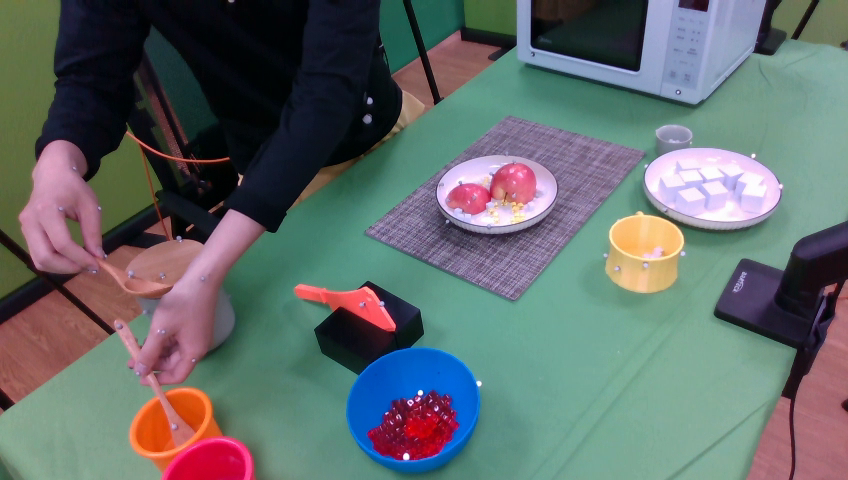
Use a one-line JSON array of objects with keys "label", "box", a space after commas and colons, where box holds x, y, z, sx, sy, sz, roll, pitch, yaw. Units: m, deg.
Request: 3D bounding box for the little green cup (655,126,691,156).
[{"label": "little green cup", "box": [0.450, -0.177, 1.100, 0.061, 0.039, 0.061, -6, 40, 5]}]

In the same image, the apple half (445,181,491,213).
[{"label": "apple half", "box": [0.077, -0.083, 1.029, 0.081, 0.033, 0.081, -2, 42, 2]}]

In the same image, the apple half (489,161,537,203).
[{"label": "apple half", "box": [0.154, -0.106, 1.030, 0.080, 0.053, 0.075, 22, 46, 31]}]

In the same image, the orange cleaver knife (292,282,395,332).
[{"label": "orange cleaver knife", "box": [-0.115, 0.091, 0.835, 0.209, 0.077, 0.012, 2, 32, 48]}]

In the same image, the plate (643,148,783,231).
[{"label": "plate", "box": [0.464, -0.079, 0.985, 0.207, 0.039, 0.206, -4, 41, 4]}]

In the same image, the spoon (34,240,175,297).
[{"label": "spoon", "box": [-0.355, 0.028, 0.663, 0.193, 0.021, 0.042, 20, 18, 18]}]

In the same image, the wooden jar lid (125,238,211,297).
[{"label": "wooden jar lid", "box": [-0.335, 0.038, 0.794, 0.108, 0.021, 0.108, -2, 40, 2]}]

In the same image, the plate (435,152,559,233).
[{"label": "plate", "box": [0.123, -0.078, 1.026, 0.209, 0.038, 0.208, -4, 40, 4]}]

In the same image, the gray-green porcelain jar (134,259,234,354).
[{"label": "gray-green porcelain jar", "box": [-0.328, 0.087, 0.836, 0.106, 0.127, 0.105, -4, 41, 4]}]

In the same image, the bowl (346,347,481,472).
[{"label": "bowl", "box": [-0.008, 0.205, 0.690, 0.151, 0.077, 0.150, -4, 40, 4]}]

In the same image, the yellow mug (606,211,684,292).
[{"label": "yellow mug", "box": [0.318, 0.008, 0.883, 0.100, 0.064, 0.130, 0, 40, 9]}]

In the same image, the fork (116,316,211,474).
[{"label": "fork", "box": [-0.308, 0.179, 0.708, 0.028, 0.018, 0.207, -30, 89, -15]}]

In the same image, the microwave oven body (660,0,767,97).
[{"label": "microwave oven body", "box": [0.474, -0.516, 1.313, 0.438, 0.261, 0.327, 26, 51, 34]}]

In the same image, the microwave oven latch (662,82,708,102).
[{"label": "microwave oven latch", "box": [0.517, -0.298, 1.202, 0.078, 0.029, 0.030, 27, 52, 34]}]

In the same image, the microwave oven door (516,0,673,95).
[{"label": "microwave oven door", "box": [0.344, -0.458, 1.256, 0.353, 0.245, 0.039, 26, 51, 33]}]
